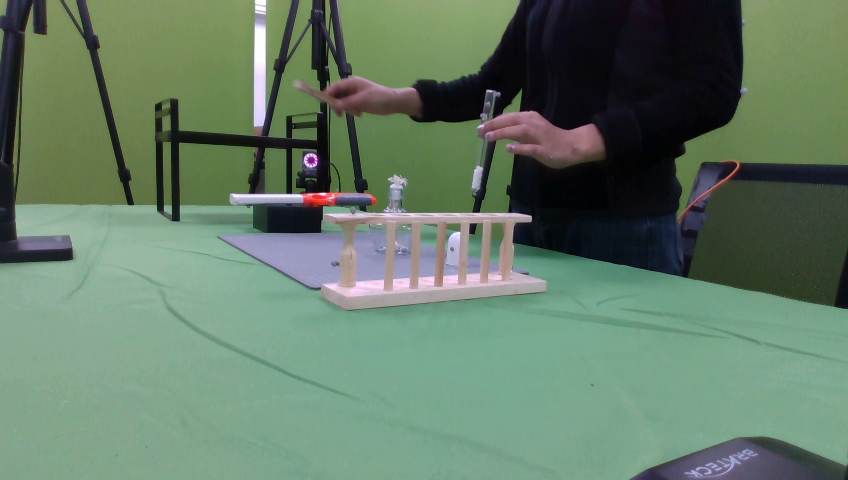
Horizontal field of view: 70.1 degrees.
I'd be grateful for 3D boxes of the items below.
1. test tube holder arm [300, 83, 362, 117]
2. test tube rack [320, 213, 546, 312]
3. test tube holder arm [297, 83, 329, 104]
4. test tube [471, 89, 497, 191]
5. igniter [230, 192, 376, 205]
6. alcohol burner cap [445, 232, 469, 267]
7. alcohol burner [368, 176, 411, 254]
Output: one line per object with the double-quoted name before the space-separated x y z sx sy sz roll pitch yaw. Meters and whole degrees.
"test tube holder arm" -0.176 -0.268 1.168 0.013 0.015 0.179 17 2 32
"test tube rack" 0.018 0.017 0.638 0.244 0.085 0.066 -2 9 -31
"test tube holder arm" -0.204 -0.274 1.133 0.010 0.015 0.088 17 2 33
"test tube" 0.088 -0.146 0.891 0.017 0.150 0.017 8 15 -2
"igniter" -0.226 -0.079 1.161 0.278 0.025 0.057 -2 15 -28
"alcohol burner cap" 0.045 0.013 0.829 0.034 0.048 0.034 2 8 0
"alcohol burner" -0.045 -0.038 0.912 0.078 0.119 0.078 4 7 0
